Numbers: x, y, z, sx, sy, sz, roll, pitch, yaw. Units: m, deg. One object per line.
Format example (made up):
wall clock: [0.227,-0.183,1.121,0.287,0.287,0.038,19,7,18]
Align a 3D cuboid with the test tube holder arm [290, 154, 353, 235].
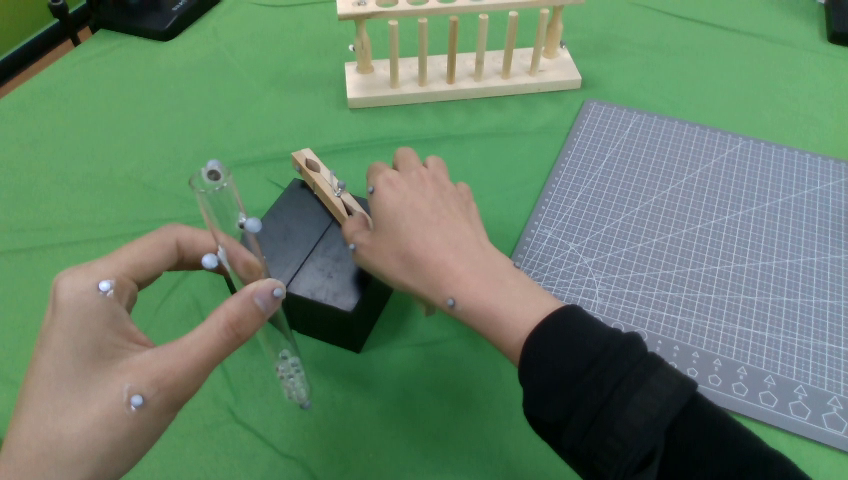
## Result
test tube holder arm: [-0.075,-0.035,0.456,0.010,0.015,0.087,-32,57,-20]

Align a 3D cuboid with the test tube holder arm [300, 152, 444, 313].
test tube holder arm: [-0.043,-0.011,0.436,0.013,0.015,0.176,-33,58,-21]

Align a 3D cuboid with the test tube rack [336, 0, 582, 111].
test tube rack: [0.037,-0.196,0.618,0.242,0.086,0.066,-6,48,-5]

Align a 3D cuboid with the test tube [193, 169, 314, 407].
test tube: [-0.072,0.032,0.273,0.017,0.151,0.017,-3,44,3]
